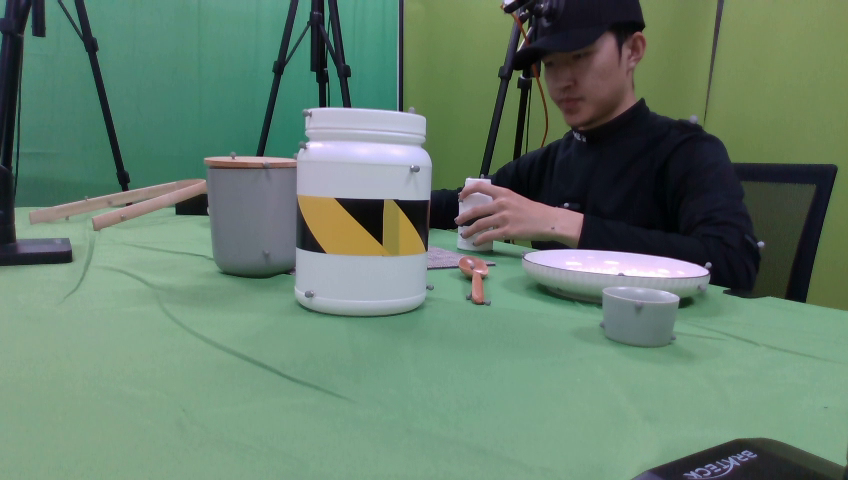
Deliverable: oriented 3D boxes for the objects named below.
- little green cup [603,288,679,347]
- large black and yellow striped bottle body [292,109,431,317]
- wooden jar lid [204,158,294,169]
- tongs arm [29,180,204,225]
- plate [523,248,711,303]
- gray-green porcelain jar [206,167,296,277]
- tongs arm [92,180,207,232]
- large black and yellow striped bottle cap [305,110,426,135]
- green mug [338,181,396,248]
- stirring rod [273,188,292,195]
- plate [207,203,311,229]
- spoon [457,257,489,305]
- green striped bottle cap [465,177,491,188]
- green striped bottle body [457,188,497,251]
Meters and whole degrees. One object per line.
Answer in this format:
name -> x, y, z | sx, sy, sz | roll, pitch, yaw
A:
little green cup -> 0.180, 0.064, 0.505 | 0.061, 0.038, 0.061 | 2, 7, 0
large black and yellow striped bottle body -> -0.060, -0.028, 0.585 | 0.131, 0.184, 0.130 | 3, 7, 0
wooden jar lid -> -0.202, -0.086, 0.714 | 0.108, 0.020, 0.108 | 3, 11, 0
tongs arm -> -0.609, -0.083, 1.245 | 0.050, 0.026, 0.386 | 5, 16, 23
plate -> 0.219, 0.041, 0.706 | 0.209, 0.038, 0.209 | 2, 7, 0
gray-green porcelain jar -> -0.201, -0.024, 0.724 | 0.106, 0.126, 0.106 | -1, 9, 1
tongs arm -> -0.534, -0.076, 1.221 | 0.028, 0.028, 0.388 | -2, 15, 12
large black and yellow striped bottle cap -> -0.055, -0.110, 0.574 | 0.115, 0.019, 0.115 | 1, 7, 0
green mug -> -0.098, -0.044, 0.995 | 0.093, 0.105, 0.125 | -1, 8, -21
stirring rod -> -0.354, -0.122, 1.519 | 0.006, 0.014, 0.176 | 2, 6, 1
plate -> -0.342, -0.050, 1.259 | 0.208, 0.039, 0.207 | 2, 7, 0
spoon -> 0.059, 0.044, 0.696 | 0.041, 0.021, 0.193 | 21, 7, 0
green striped bottle cap -> 0.092, -0.095, 1.018 | 0.044, 0.020, 0.044 | 3, 6, 0
green striped bottle body -> 0.090, -0.044, 1.023 | 0.063, 0.119, 0.063 | 3, 8, 0
